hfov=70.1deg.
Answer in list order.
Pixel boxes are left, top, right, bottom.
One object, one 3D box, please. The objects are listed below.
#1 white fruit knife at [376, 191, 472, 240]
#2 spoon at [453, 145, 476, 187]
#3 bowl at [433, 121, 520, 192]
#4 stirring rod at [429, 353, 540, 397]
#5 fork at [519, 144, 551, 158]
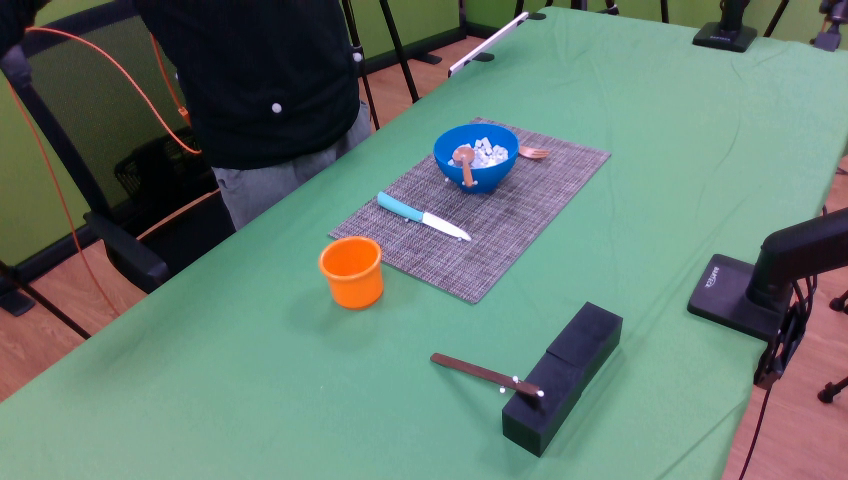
[{"bbox_3d":[-0.004,-0.040,1.012,0.206,0.016,0.027,25,62,30],"label":"white fruit knife"},{"bbox_3d":[0.069,-0.124,1.000,0.041,0.022,0.193,-9,21,6],"label":"spoon"},{"bbox_3d":[0.093,-0.137,1.064,0.151,0.077,0.150,-4,41,4],"label":"bowl"},{"bbox_3d":[0.069,0.162,0.737,0.174,0.006,0.014,8,42,47],"label":"stirring rod"},{"bbox_3d":[0.146,-0.188,1.162,0.206,0.019,0.028,22,58,27],"label":"fork"}]
